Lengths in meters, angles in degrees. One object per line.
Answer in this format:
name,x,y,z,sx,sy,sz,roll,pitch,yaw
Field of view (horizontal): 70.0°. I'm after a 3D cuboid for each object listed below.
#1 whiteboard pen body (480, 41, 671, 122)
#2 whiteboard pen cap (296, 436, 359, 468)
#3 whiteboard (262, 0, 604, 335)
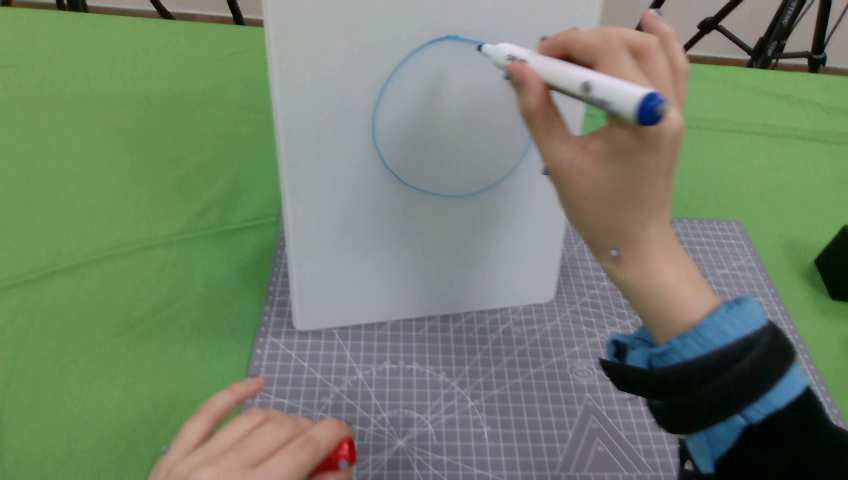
whiteboard pen body,0.068,-0.087,0.311,0.017,0.017,0.139,-19,35,-23
whiteboard pen cap,-0.052,0.116,0.330,0.032,0.017,0.017,-1,47,3
whiteboard,-0.004,-0.103,0.470,0.218,0.307,0.142,-5,29,-12
